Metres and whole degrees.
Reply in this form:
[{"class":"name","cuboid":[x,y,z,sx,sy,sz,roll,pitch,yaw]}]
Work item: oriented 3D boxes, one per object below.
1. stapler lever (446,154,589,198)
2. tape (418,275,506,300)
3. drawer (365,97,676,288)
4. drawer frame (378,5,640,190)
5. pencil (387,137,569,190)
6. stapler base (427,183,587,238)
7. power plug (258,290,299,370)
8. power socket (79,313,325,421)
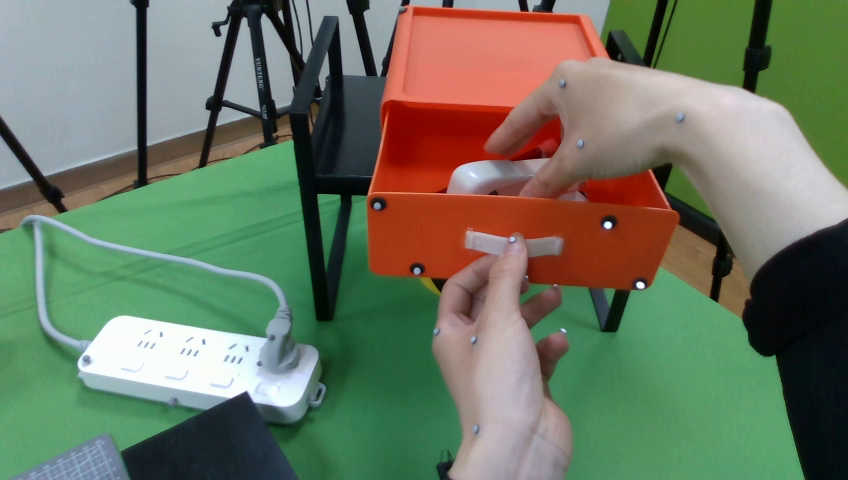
[{"class":"stapler lever","cuboid":[0.072,-0.045,0.449,0.118,0.040,0.026,-8,43,-24]},{"class":"tape","cuboid":[0.045,0.009,0.685,0.117,0.053,0.115,2,41,-2]},{"class":"drawer","cuboid":[0.063,-0.061,0.470,0.194,0.074,0.209,3,39,0]},{"class":"drawer frame","cuboid":[0.067,-0.140,0.559,0.202,0.083,0.211,2,39,-1]},{"class":"pencil","cuboid":[0.046,-0.061,0.501,0.194,0.012,0.012,-19,44,-27]},{"class":"stapler base","cuboid":[0.067,-0.027,0.461,0.131,0.024,0.041,-6,42,-26]},{"class":"power plug","cuboid":[-0.124,0.089,0.557,0.035,0.053,0.072,16,42,15]},{"class":"power socket","cuboid":[-0.203,0.115,0.558,0.226,0.033,0.071,8,40,7]}]
